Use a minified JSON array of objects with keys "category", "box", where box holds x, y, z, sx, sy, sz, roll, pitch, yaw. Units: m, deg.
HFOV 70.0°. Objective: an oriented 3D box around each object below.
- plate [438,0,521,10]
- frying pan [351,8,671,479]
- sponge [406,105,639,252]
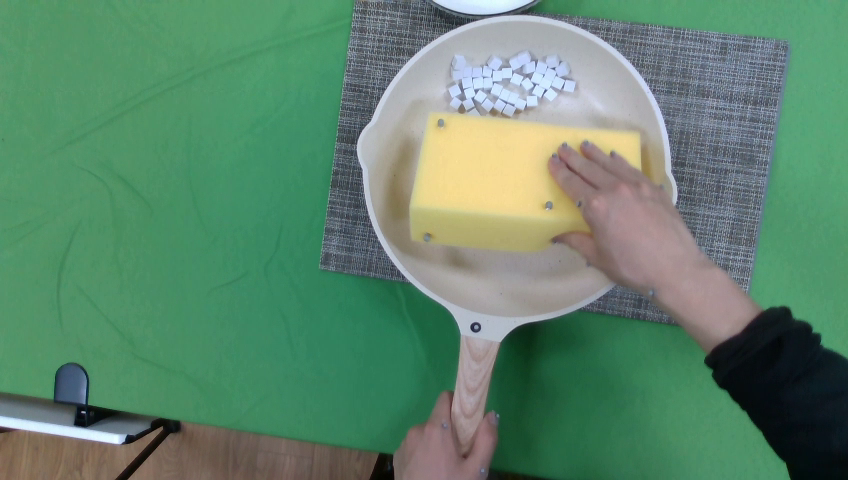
[{"category":"plate","box":[0.060,-0.337,0.618,0.207,0.039,0.207,0,93,5]},{"category":"frying pan","box":[0.061,0.027,0.597,0.306,0.103,0.487,11,85,5]},{"category":"sponge","box":[0.093,-0.061,0.583,0.207,0.061,0.117,4,60,4]}]
